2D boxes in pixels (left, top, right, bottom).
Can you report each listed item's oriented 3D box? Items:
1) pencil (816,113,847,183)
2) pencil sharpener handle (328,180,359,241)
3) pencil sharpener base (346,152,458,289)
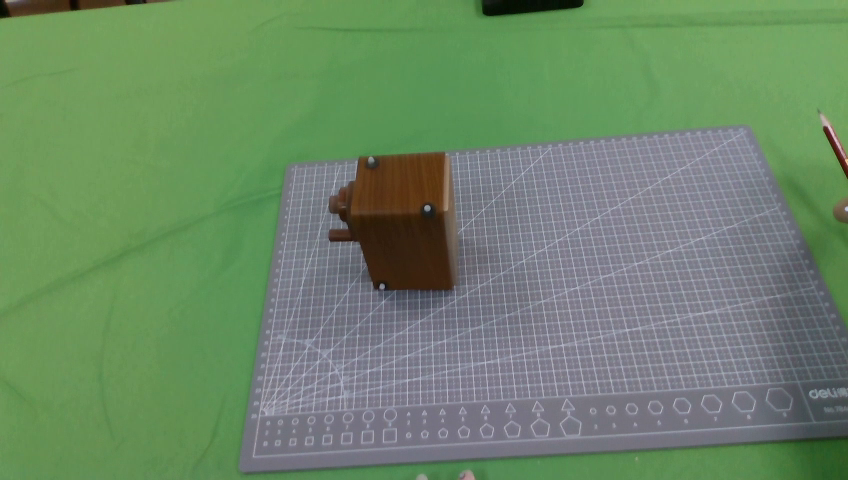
[{"bbox_3d":[0.354,-0.022,0.481,0.012,0.012,0.192,-10,67,-1],"label":"pencil"},{"bbox_3d":[-0.066,-0.019,0.473,0.030,0.068,0.035,-1,58,6],"label":"pencil sharpener handle"},{"bbox_3d":[-0.014,-0.012,0.477,0.076,0.108,0.061,-2,54,6],"label":"pencil sharpener base"}]
